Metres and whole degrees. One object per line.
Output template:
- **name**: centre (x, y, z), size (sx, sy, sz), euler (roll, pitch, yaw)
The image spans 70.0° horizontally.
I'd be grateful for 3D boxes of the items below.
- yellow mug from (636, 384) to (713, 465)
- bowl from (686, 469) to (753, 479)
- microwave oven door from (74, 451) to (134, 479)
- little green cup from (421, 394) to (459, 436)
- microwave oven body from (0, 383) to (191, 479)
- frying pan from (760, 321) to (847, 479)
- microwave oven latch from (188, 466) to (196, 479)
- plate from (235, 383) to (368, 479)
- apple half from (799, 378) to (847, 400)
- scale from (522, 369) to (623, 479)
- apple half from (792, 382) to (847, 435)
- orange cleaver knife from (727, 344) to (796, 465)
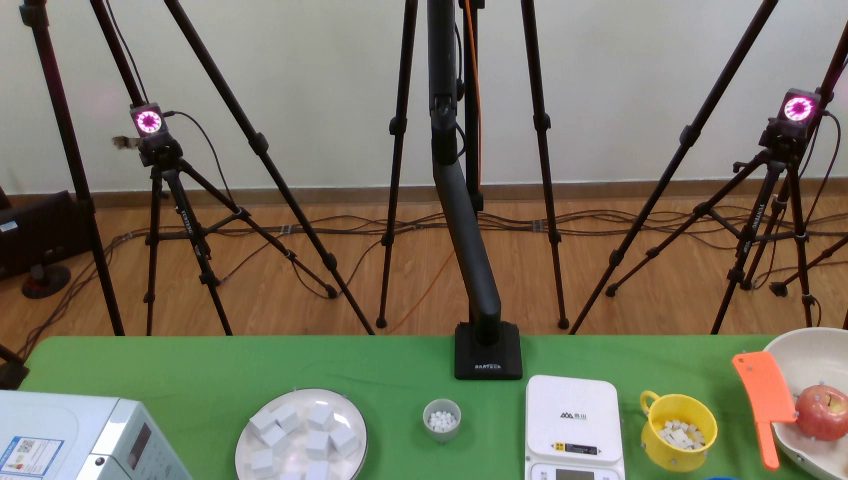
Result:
- **yellow mug**: centre (0.380, 0.278, 0.949), size (0.100, 0.064, 0.129), euler (-24, 46, -18)
- **bowl**: centre (0.405, 0.396, 0.814), size (0.151, 0.077, 0.150), euler (-2, 44, 2)
- **microwave oven door**: centre (-0.395, 0.452, 0.668), size (0.039, 0.246, 0.352), euler (2, 44, 6)
- **little green cup**: centre (0.026, 0.287, 0.987), size (0.061, 0.039, 0.061), euler (-2, 43, 3)
- **microwave oven body**: centre (-0.535, 0.423, 0.717), size (0.326, 0.262, 0.437), euler (2, 44, 6)
- **frying pan**: centre (0.698, 0.310, 0.864), size (0.307, 0.104, 0.482), euler (-19, 37, -14)
- **microwave oven latch**: centre (-0.364, 0.376, 0.895), size (0.030, 0.030, 0.078), euler (4, 45, 8)
- **plate**: centre (-0.191, 0.324, 0.964), size (0.207, 0.039, 0.205), euler (-2, 43, 2)
- **apple half**: centre (0.631, 0.246, 0.951), size (0.080, 0.082, 0.033), euler (32, 58, 32)
- **scale**: centre (0.233, 0.299, 0.963), size (0.148, 0.032, 0.199), euler (3, 44, 8)
- **apple half**: centre (0.604, 0.267, 0.932), size (0.080, 0.075, 0.053), euler (34, 59, 30)
- **orange cleaver knife**: centre (0.520, 0.243, 0.923), size (0.077, 0.012, 0.209), euler (2, 44, 10)
